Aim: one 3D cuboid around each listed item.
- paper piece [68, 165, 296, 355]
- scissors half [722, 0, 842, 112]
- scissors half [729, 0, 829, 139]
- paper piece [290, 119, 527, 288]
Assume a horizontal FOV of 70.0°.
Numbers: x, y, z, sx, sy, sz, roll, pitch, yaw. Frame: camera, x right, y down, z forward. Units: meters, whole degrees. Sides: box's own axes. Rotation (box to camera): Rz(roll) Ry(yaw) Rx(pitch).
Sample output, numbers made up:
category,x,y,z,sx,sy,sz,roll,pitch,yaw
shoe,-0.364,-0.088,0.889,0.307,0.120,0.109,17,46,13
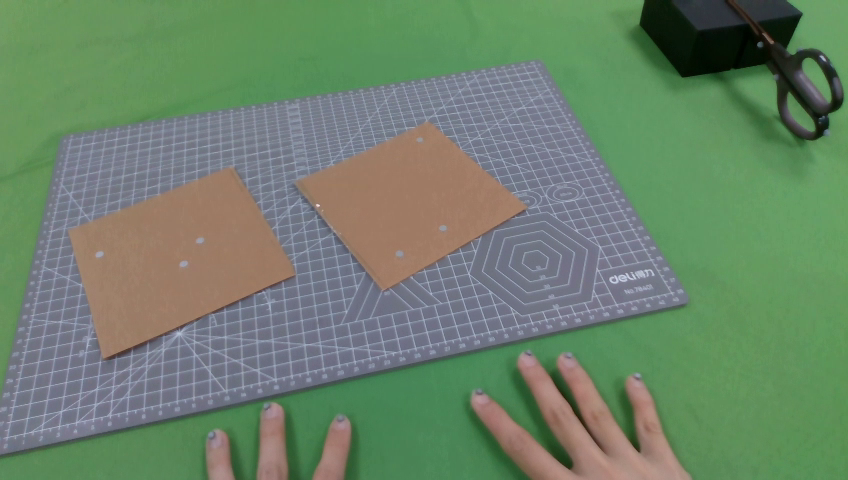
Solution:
category,x,y,z,sx,sy,sz,roll,pitch,yaw
paper piece,-0.183,0.006,0.449,0.136,0.004,0.134,-24,53,-18
scissors half,0.299,-0.170,0.520,0.013,0.040,0.173,-19,47,4
scissors half,0.304,-0.159,0.537,0.013,0.040,0.173,-16,65,0
paper piece,-0.014,-0.038,0.481,0.138,0.009,0.134,-28,58,-21
